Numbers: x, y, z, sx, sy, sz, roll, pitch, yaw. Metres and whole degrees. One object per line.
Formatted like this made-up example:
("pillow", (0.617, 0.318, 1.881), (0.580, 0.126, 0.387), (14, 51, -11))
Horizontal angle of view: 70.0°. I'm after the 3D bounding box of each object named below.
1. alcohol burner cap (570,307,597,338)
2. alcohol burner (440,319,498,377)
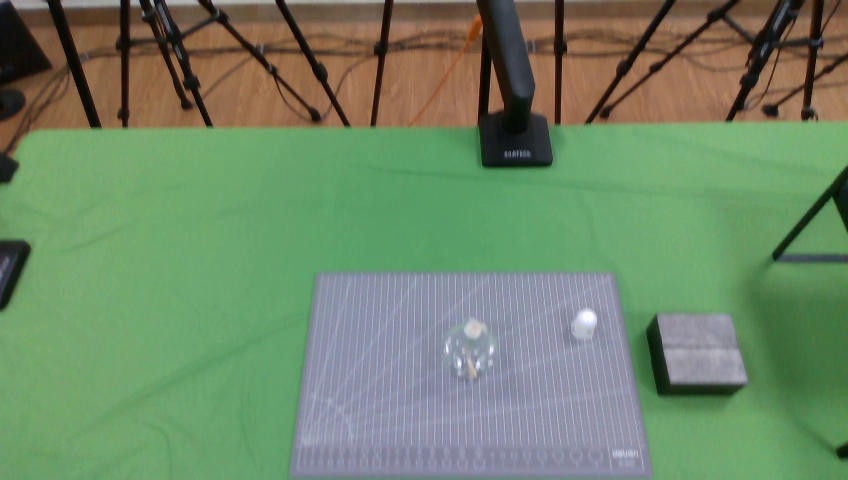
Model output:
("alcohol burner cap", (0.224, 0.112, 0.843), (0.034, 0.048, 0.033), (0, 56, 0))
("alcohol burner", (0.060, 0.133, 0.787), (0.078, 0.120, 0.077), (1, 58, -1))
